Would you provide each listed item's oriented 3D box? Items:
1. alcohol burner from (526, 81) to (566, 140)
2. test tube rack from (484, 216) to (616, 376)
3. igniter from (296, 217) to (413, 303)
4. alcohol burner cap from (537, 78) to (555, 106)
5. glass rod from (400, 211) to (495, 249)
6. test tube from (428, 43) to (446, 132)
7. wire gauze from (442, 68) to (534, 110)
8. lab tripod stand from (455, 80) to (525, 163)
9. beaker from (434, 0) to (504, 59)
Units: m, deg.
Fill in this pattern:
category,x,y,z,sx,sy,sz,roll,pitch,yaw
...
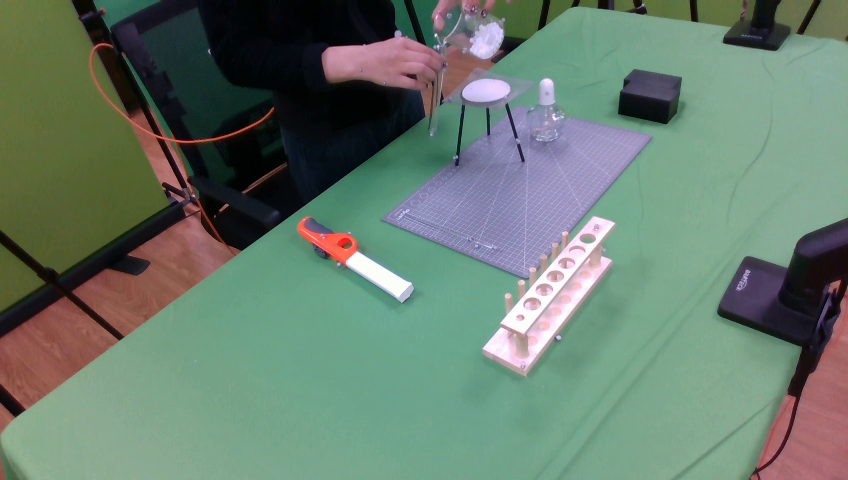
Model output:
category,x,y,z,sx,sy,sz,roll,pitch,yaw
alcohol burner,0.235,-0.252,1.159,0.078,0.119,0.077,-4,42,4
test tube rack,0.174,0.064,0.823,0.066,0.085,0.243,23,49,33
igniter,-0.121,0.025,0.970,0.274,0.025,0.057,29,63,37
alcohol burner cap,0.229,-0.279,1.136,0.034,0.048,0.033,-6,34,4
glass rod,0.035,-0.018,1.001,0.198,0.008,0.008,21,49,35
test tube,0.021,-0.254,1.018,0.017,0.150,0.017,5,29,-2
wire gauze,0.114,-0.269,1.081,0.120,0.011,0.125,21,49,29
lab tripod stand,0.120,-0.219,1.126,0.148,0.132,0.147,-4,40,4
beaker,0.076,-0.347,1.001,0.101,0.084,0.073,13,10,-36
